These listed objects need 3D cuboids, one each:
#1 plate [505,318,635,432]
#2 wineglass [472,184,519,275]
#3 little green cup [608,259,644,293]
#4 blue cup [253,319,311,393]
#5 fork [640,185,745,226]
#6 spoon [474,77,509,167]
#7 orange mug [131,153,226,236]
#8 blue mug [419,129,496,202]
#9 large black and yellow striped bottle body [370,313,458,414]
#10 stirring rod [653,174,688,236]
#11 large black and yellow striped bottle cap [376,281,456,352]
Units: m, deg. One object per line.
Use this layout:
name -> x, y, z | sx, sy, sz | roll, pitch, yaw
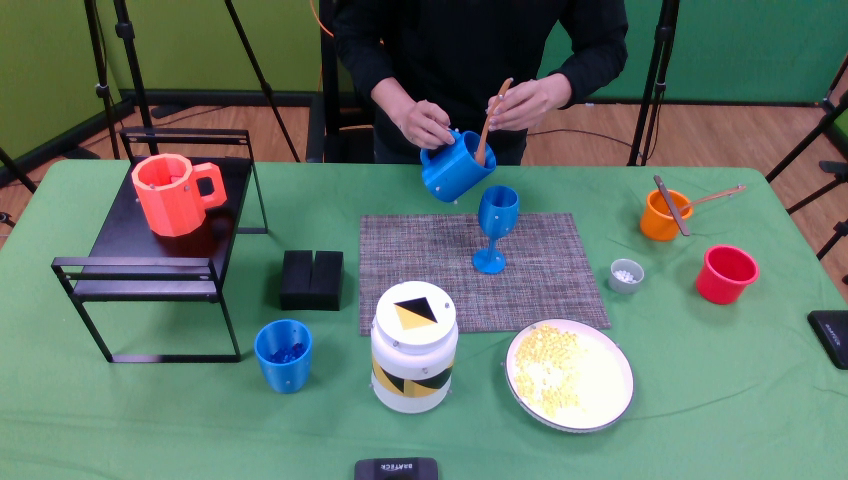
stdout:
plate -> 0.235, 0.221, 0.991 | 0.209, 0.038, 0.208 | 2, 45, -2
wineglass -> 0.129, -0.018, 1.113 | 0.074, 0.173, 0.073 | 2, 46, -2
little green cup -> 0.379, 0.070, 1.147 | 0.061, 0.039, 0.061 | 3, 45, -3
blue cup -> -0.217, 0.187, 0.943 | 0.093, 0.100, 0.092 | 4, 45, -3
fork -> 0.534, -0.069, 1.215 | 0.207, 0.019, 0.028 | -26, 27, 33
spoon -> 0.102, -0.177, 0.996 | 0.042, 0.194, 0.021 | -18, 45, -38
orange mug -> -0.375, -0.075, 0.937 | 0.126, 0.101, 0.083 | -20, 50, -17
blue mug -> 0.046, -0.137, 1.039 | 0.117, 0.106, 0.082 | 43, 38, -15
large black and yellow striped bottle body -> -0.017, 0.165, 0.924 | 0.131, 0.185, 0.130 | 2, 46, -2
stirring rod -> 0.491, -0.072, 1.211 | 0.014, 0.006, 0.175 | 0, 47, -6
large black and yellow striped bottle cap -> -0.011, 0.107, 0.863 | 0.115, 0.019, 0.114 | 2, 47, -2
